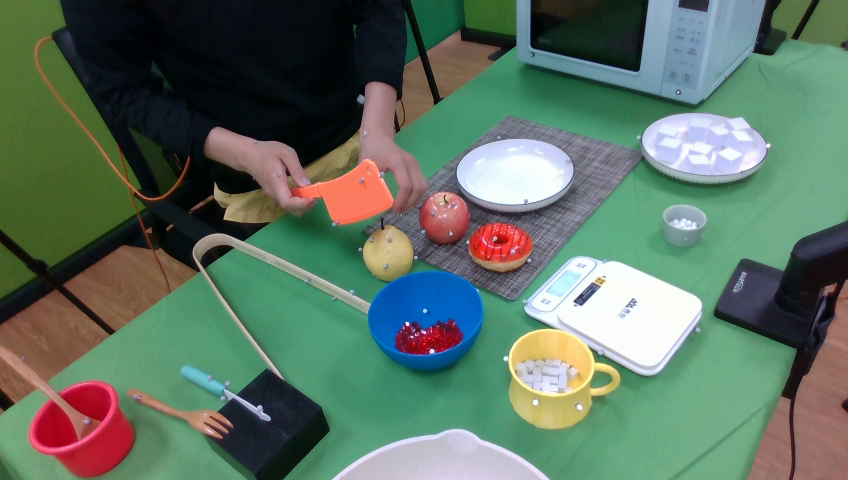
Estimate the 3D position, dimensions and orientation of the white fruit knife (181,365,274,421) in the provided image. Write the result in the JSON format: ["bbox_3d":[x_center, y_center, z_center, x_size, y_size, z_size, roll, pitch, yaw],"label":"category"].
[{"bbox_3d":[-0.245,0.187,0.747,0.205,0.027,0.016,9,41,41],"label":"white fruit knife"}]

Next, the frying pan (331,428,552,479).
[{"bbox_3d":[-0.089,0.306,0.564,0.487,0.103,0.306,10,41,7],"label":"frying pan"}]

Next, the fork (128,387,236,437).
[{"bbox_3d":[-0.305,0.207,0.744,0.206,0.019,0.028,3,41,36],"label":"fork"}]

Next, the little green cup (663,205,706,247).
[{"bbox_3d":[0.396,-0.020,0.926,0.061,0.039,0.061,-4,40,4],"label":"little green cup"}]

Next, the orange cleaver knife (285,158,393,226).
[{"bbox_3d":[-0.120,-0.058,0.824,0.210,0.077,0.012,-8,12,44],"label":"orange cleaver knife"}]

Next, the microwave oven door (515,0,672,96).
[{"bbox_3d":[0.343,-0.455,1.259,0.353,0.245,0.039,26,51,33],"label":"microwave oven door"}]

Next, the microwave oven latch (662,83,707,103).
[{"bbox_3d":[0.517,-0.296,1.204,0.078,0.029,0.030,27,52,35],"label":"microwave oven latch"}]

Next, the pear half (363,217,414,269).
[{"bbox_3d":[-0.058,0.002,0.914,0.076,0.110,0.055,-15,40,-12],"label":"pear half"}]

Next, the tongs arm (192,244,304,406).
[{"bbox_3d":[-0.268,0.111,0.884,0.028,0.028,0.384,-36,47,-17],"label":"tongs arm"}]

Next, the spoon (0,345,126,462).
[{"bbox_3d":[-0.434,0.192,0.720,0.194,0.021,0.042,47,53,-7],"label":"spoon"}]

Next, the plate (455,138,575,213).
[{"bbox_3d":[0.159,-0.111,1.063,0.209,0.038,0.208,-4,40,4],"label":"plate"}]

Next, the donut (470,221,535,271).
[{"bbox_3d":[0.119,0.009,0.923,0.099,0.048,0.098,-3,39,3],"label":"donut"}]

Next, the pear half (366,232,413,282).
[{"bbox_3d":[-0.048,0.031,0.893,0.071,0.088,0.031,-16,40,-13],"label":"pear half"}]

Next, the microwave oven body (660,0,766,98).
[{"bbox_3d":[0.472,-0.513,1.317,0.438,0.261,0.327,26,51,34],"label":"microwave oven body"}]

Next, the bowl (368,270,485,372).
[{"bbox_3d":[0.007,0.118,0.791,0.151,0.077,0.150,-5,40,4],"label":"bowl"}]

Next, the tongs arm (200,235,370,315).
[{"bbox_3d":[-0.209,0.062,0.924,0.381,0.027,0.051,23,55,32],"label":"tongs arm"}]

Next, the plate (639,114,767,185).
[{"bbox_3d":[0.489,-0.157,1.074,0.207,0.039,0.206,-4,40,4],"label":"plate"}]

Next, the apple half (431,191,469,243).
[{"bbox_3d":[0.045,-0.038,0.967,0.053,0.075,0.080,-13,38,-11],"label":"apple half"}]

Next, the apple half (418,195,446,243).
[{"bbox_3d":[0.008,-0.028,0.959,0.033,0.081,0.080,-14,41,-11],"label":"apple half"}]

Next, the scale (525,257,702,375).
[{"bbox_3d":[0.254,0.091,0.821,0.199,0.032,0.149,27,51,35],"label":"scale"}]

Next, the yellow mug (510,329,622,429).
[{"bbox_3d":[0.168,0.164,0.721,0.130,0.064,0.099,0,40,8],"label":"yellow mug"}]
